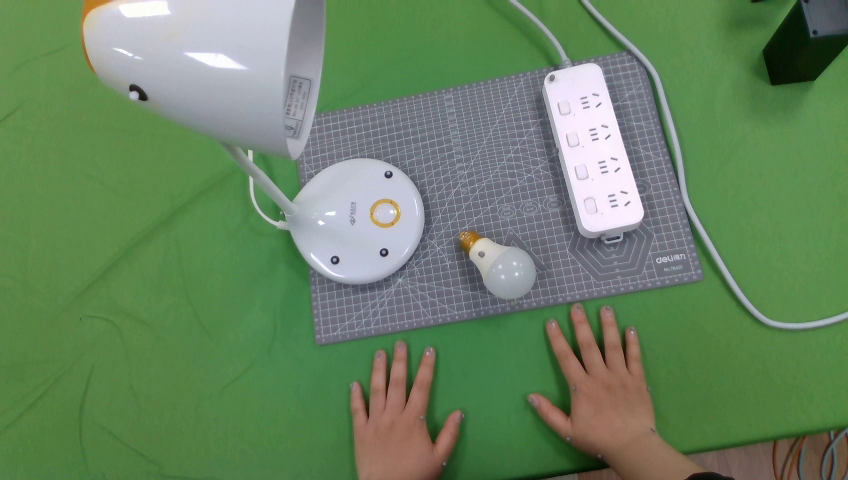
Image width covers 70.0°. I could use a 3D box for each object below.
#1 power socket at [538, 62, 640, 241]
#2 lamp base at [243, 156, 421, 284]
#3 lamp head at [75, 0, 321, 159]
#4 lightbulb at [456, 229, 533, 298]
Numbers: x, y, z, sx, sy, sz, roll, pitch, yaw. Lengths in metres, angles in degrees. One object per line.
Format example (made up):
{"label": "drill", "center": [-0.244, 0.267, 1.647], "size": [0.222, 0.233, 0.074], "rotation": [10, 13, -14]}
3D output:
{"label": "power socket", "center": [0.193, -0.110, 0.716], "size": [0.072, 0.033, 0.225], "rotation": [-12, 74, 3]}
{"label": "lamp base", "center": [-0.105, -0.043, 0.659], "size": [0.179, 0.181, 0.159], "rotation": [-13, 74, 7]}
{"label": "lamp head", "center": [-0.125, -0.108, 0.348], "size": [0.123, 0.113, 0.112], "rotation": [7, 76, 2]}
{"label": "lightbulb", "center": [0.076, 0.021, 0.688], "size": [0.059, 0.060, 0.106], "rotation": [-47, 59, -6]}
